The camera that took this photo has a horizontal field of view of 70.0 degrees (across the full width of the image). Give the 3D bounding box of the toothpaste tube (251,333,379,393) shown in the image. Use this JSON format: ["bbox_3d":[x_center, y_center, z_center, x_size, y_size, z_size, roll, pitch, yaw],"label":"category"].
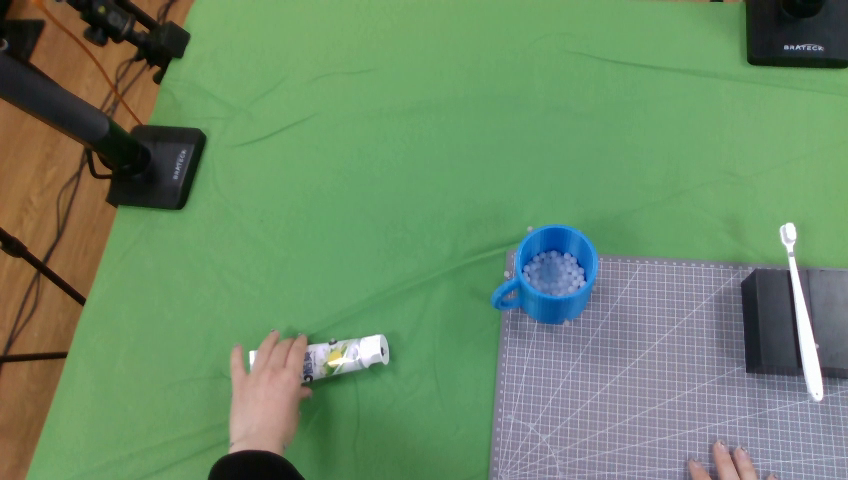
[{"bbox_3d":[-0.126,0.137,0.707,0.165,0.035,0.054,-12,64,8],"label":"toothpaste tube"}]

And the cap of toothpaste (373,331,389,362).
[{"bbox_3d":[-0.049,0.123,0.694,0.011,0.037,0.037,-11,68,9],"label":"cap of toothpaste"}]

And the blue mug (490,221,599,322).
[{"bbox_3d":[0.126,0.043,0.655,0.116,0.106,0.081,-23,68,1],"label":"blue mug"}]

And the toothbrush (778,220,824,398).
[{"bbox_3d":[0.375,0.064,0.602,0.014,0.017,0.180,0,70,5],"label":"toothbrush"}]
